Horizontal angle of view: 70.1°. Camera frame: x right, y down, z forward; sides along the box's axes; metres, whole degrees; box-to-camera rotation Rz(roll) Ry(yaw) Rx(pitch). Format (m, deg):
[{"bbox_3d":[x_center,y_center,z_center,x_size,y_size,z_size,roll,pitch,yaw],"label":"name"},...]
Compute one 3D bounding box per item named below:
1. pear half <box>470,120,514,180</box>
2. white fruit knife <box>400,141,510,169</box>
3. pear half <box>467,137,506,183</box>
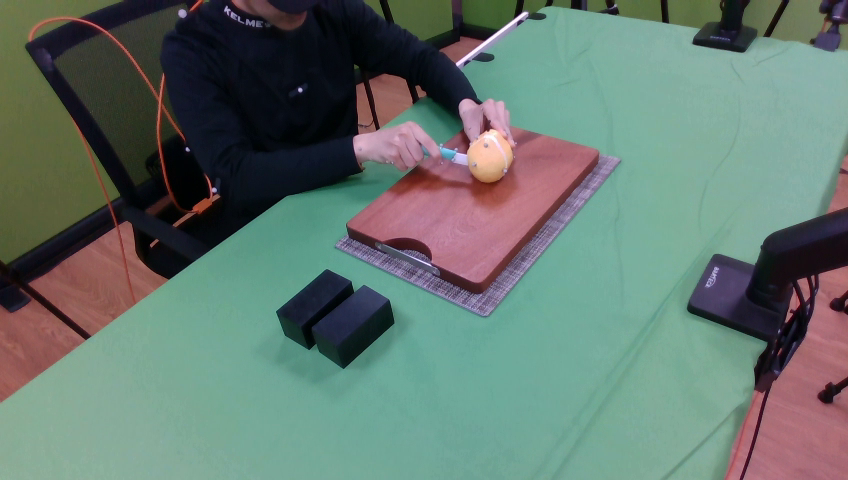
[{"bbox_3d":[0.117,-0.161,1.028,0.076,0.110,0.056,13,44,16],"label":"pear half"},{"bbox_3d":[0.050,-0.146,1.046,0.206,0.027,0.016,14,46,21],"label":"white fruit knife"},{"bbox_3d":[0.101,-0.128,1.008,0.070,0.088,0.031,13,49,14],"label":"pear half"}]
